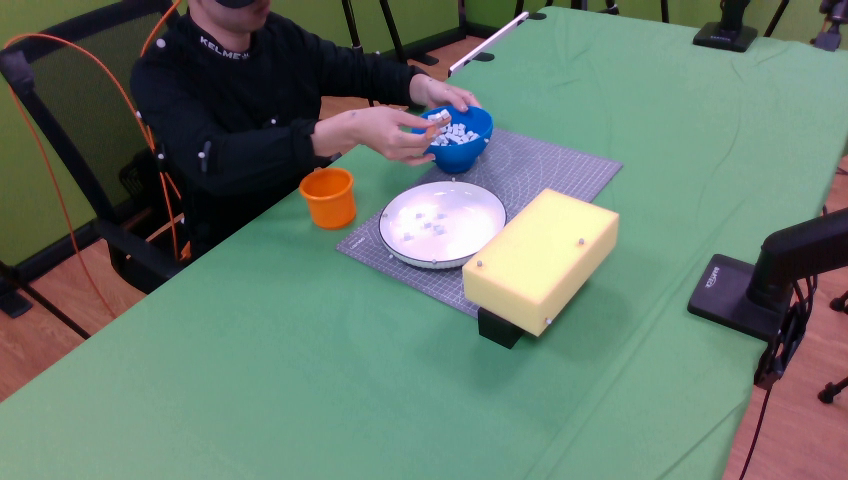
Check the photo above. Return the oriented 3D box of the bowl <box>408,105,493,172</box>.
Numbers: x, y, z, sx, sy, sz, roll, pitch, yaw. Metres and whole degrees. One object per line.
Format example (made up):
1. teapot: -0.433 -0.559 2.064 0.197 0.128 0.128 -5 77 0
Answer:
1. bowl: 0.054 -0.176 1.101 0.151 0.077 0.150 -6 39 6

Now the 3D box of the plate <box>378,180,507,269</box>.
1. plate: 0.031 -0.022 0.974 0.209 0.038 0.208 -4 40 4

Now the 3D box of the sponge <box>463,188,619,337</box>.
1. sponge: 0.160 0.022 0.814 0.117 0.061 0.207 25 50 32

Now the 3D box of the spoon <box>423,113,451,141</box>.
1. spoon: 0.015 -0.183 0.974 0.041 0.022 0.193 -8 16 12
